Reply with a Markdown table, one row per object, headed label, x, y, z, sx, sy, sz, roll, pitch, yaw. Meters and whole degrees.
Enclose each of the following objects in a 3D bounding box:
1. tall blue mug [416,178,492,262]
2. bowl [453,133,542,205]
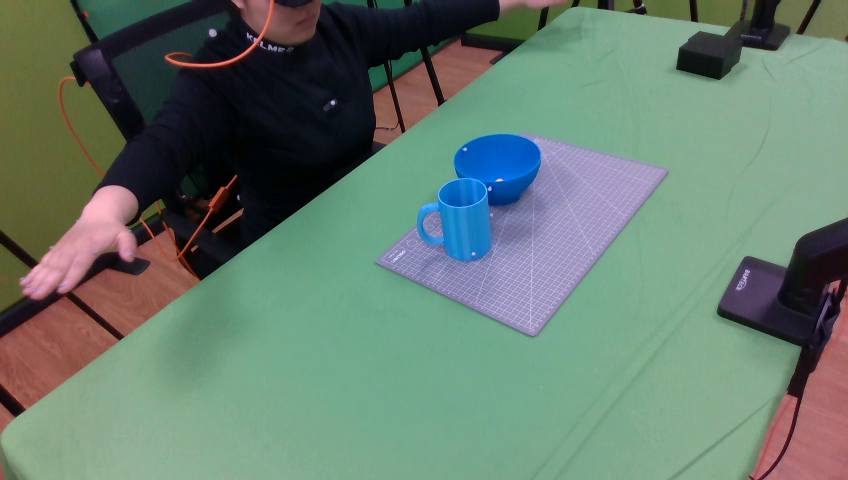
| label | x | y | z | sx | sy | sz | roll | pitch | yaw |
| --- | --- | --- | --- | --- | --- | --- | --- | --- | --- |
| tall blue mug | 0.051 | -0.025 | 0.930 | 0.107 | 0.108 | 0.077 | -27 | 44 | -20 |
| bowl | 0.129 | -0.113 | 1.045 | 0.151 | 0.077 | 0.150 | -5 | 40 | 5 |
